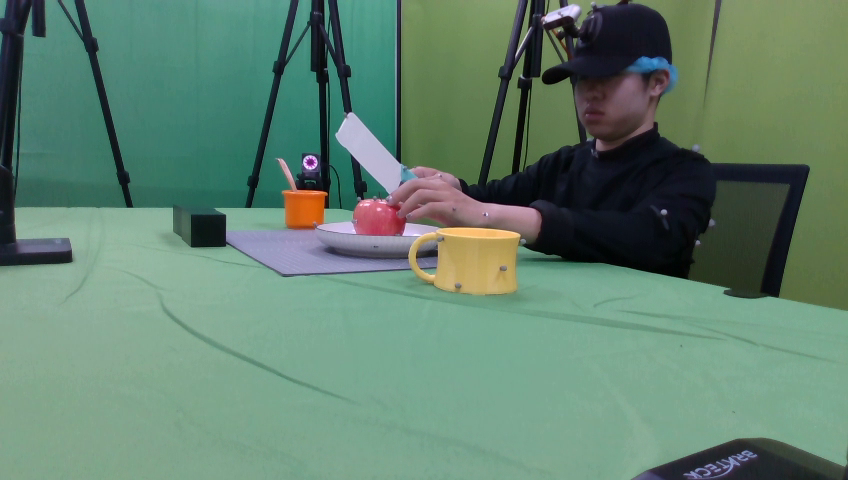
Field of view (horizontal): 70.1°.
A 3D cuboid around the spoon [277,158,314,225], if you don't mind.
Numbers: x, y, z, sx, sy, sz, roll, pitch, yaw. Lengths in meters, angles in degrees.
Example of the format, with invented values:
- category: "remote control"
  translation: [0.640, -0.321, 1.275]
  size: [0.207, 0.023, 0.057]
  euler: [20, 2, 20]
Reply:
- category: "spoon"
  translation: [-0.272, -0.103, 1.260]
  size: [0.042, 0.193, 0.021]
  euler: [-5, -34, -33]

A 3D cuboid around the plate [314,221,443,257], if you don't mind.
- category: "plate"
  translation: [-0.067, -0.002, 0.947]
  size: [0.209, 0.038, 0.209]
  euler: [3, 7, 0]

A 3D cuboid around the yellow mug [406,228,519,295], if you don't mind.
- category: "yellow mug"
  translation: [0.044, 0.022, 0.707]
  size: [0.131, 0.064, 0.100]
  euler: [2, 7, 5]

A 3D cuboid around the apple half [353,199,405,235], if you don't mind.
- category: "apple half"
  translation: [-0.061, -0.023, 0.911]
  size: [0.081, 0.074, 0.053]
  euler: [1, 11, -42]

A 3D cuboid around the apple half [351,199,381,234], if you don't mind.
- category: "apple half"
  translation: [-0.088, -0.029, 0.940]
  size: [0.082, 0.081, 0.032]
  euler: [-4, 16, -41]

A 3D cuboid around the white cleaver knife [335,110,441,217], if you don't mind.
- category: "white cleaver knife"
  translation: [-0.056, -0.112, 1.024]
  size: [0.021, 0.066, 0.288]
  euler: [4, -25, 39]
